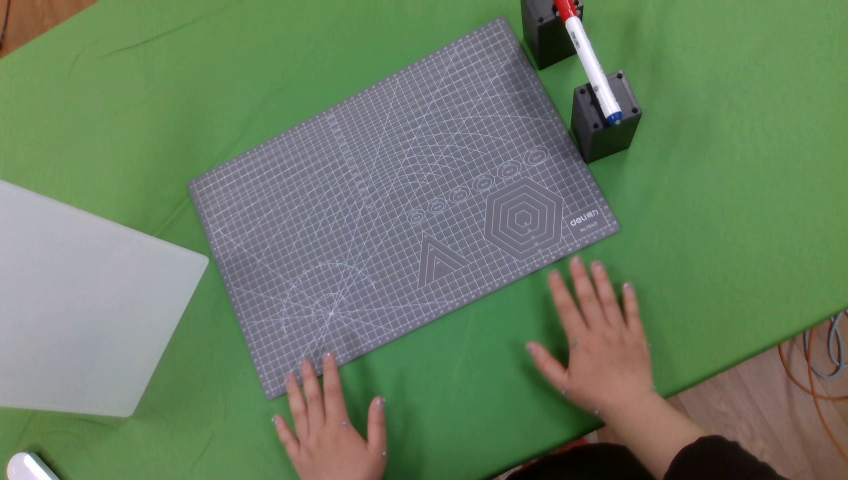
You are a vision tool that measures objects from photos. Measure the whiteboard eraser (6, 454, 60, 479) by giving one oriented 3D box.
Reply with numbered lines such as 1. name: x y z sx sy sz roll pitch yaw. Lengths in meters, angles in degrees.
1. whiteboard eraser: -0.469 0.302 0.737 0.101 0.019 0.041 36 87 14

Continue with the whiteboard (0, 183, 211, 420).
1. whiteboard: -0.435 0.055 0.661 0.142 0.308 0.217 22 85 35

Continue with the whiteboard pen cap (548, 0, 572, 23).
1. whiteboard pen cap: 0.137 -0.236 0.610 0.017 0.017 0.032 -20 78 8

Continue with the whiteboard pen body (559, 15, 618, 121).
1. whiteboard pen body: 0.157 -0.180 0.598 0.017 0.017 0.140 -22 76 7
